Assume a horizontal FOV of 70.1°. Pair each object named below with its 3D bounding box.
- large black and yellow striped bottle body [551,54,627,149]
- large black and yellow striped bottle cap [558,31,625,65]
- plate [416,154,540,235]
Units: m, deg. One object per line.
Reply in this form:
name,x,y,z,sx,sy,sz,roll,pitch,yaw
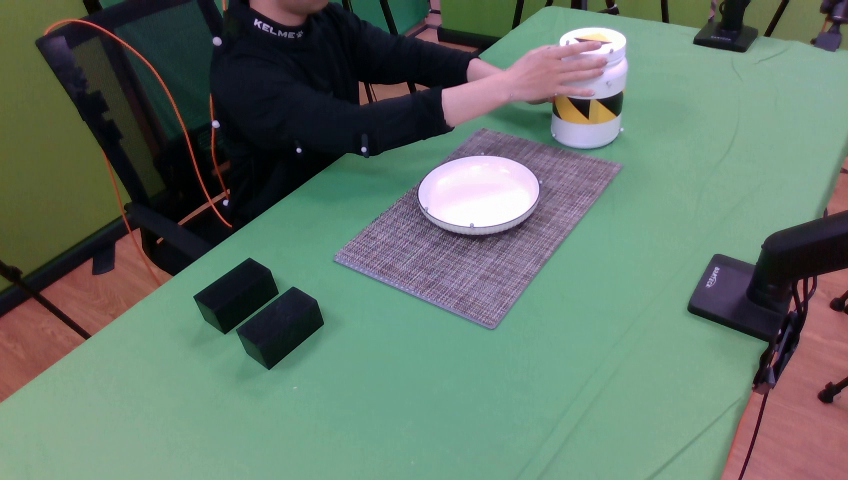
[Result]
large black and yellow striped bottle body,0.305,-0.278,1.125,0.131,0.185,0.130,-4,41,4
large black and yellow striped bottle cap,0.295,-0.342,1.069,0.115,0.019,0.114,-3,40,3
plate,0.090,-0.074,1.025,0.207,0.039,0.206,-4,41,4
